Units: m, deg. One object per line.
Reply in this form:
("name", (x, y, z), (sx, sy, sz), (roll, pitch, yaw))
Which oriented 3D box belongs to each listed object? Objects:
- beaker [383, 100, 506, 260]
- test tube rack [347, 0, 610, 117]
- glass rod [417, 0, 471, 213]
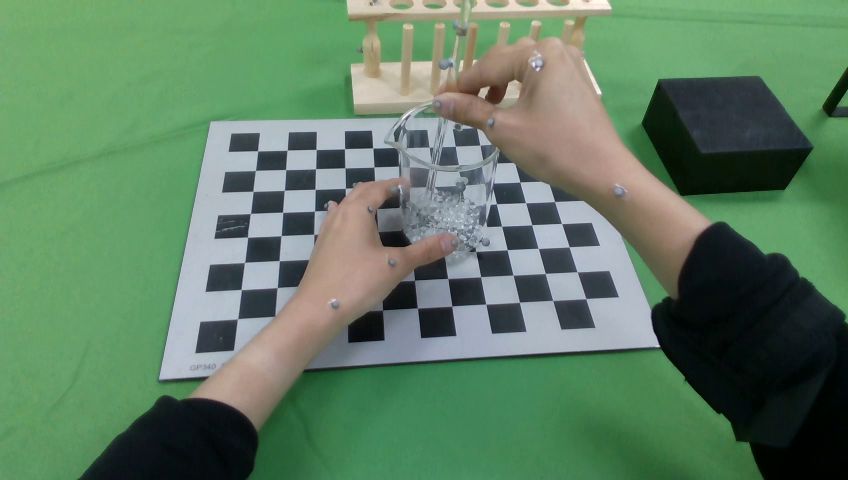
("beaker", (0.013, -0.040, 0.447), (0.084, 0.101, 0.073), (-2, 49, -4))
("test tube rack", (0.051, -0.177, 0.579), (0.243, 0.086, 0.066), (-4, 50, -7))
("glass rod", (0.010, -0.078, 0.402), (0.008, 0.201, 0.008), (4, 56, -6))
